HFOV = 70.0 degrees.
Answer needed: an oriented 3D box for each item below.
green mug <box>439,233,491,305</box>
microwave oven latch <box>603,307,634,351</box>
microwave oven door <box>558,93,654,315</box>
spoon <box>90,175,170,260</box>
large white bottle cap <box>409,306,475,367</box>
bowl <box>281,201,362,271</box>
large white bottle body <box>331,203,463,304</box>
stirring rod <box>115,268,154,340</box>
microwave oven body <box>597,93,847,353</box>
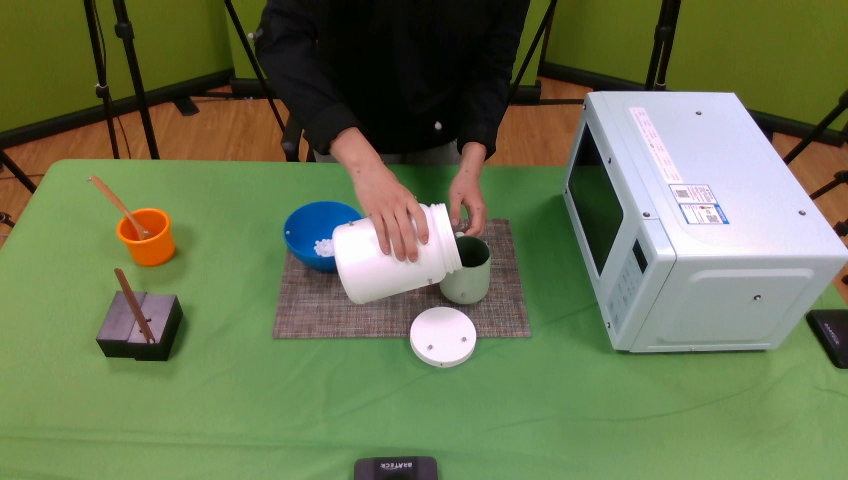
[{"bbox_3d":[0.072,0.045,1.101,0.092,0.105,0.124,-6,46,-9],"label":"green mug"},{"bbox_3d":[0.332,0.153,1.043,0.030,0.029,0.078,0,45,-3],"label":"microwave oven latch"},{"bbox_3d":[0.327,-0.074,1.123,0.039,0.245,0.353,-1,46,-5],"label":"microwave oven door"},{"bbox_3d":[-0.539,-0.042,1.111,0.041,0.194,0.021,-45,19,-32],"label":"spoon"},{"bbox_3d":[0.031,0.164,1.040,0.115,0.018,0.114,3,50,-3],"label":"large white bottle cap"},{"bbox_3d":[-0.187,0.005,1.137,0.151,0.077,0.150,3,46,-3],"label":"bowl"},{"bbox_3d":[-0.041,0.018,0.960,0.184,0.131,0.129,-16,47,4],"label":"large white bottle body"},{"bbox_3d":[-0.479,0.103,0.999,0.014,0.006,0.175,7,32,-49],"label":"stirring rod"},{"bbox_3d":[0.475,-0.041,1.109,0.326,0.261,0.438,-1,45,-4],"label":"microwave oven body"}]
